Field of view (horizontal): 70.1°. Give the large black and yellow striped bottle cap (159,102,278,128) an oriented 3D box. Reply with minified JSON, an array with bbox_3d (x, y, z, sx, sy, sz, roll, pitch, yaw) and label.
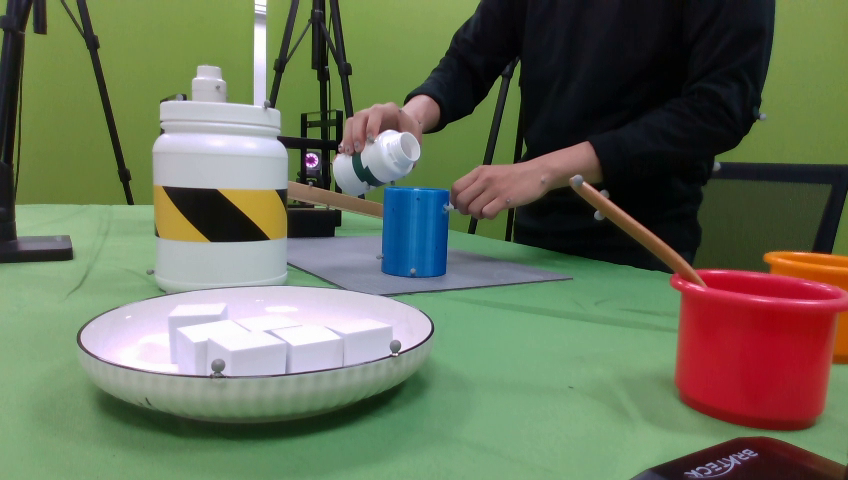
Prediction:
[{"bbox_3d":[-0.207,-0.125,0.615,0.115,0.019,0.115,2,6,0],"label":"large black and yellow striped bottle cap"}]

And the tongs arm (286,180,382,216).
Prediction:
[{"bbox_3d":[-0.122,-0.066,1.147,0.387,0.026,0.050,11,-2,-37],"label":"tongs arm"}]

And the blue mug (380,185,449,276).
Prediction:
[{"bbox_3d":[-0.018,-0.016,0.764,0.083,0.106,0.116,-1,8,-25],"label":"blue mug"}]

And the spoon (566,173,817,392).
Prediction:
[{"bbox_3d":[0.161,0.024,0.370,0.193,0.021,0.042,47,18,3],"label":"spoon"}]

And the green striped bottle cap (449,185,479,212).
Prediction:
[{"bbox_3d":[0.057,-0.061,0.883,0.044,0.020,0.044,9,38,-7],"label":"green striped bottle cap"}]

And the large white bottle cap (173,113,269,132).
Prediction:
[{"bbox_3d":[-0.254,-0.146,0.760,0.115,0.018,0.115,1,7,0],"label":"large white bottle cap"}]

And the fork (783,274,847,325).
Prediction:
[{"bbox_3d":[0.332,0.018,0.443,0.028,0.018,0.207,-1,-36,-15],"label":"fork"}]

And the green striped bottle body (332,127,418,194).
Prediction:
[{"bbox_3d":[-0.062,-0.107,0.799,0.119,0.063,0.063,-19,-8,40],"label":"green striped bottle body"}]

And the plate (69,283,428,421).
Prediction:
[{"bbox_3d":[-0.102,0.066,0.381,0.208,0.039,0.207,2,7,0],"label":"plate"}]

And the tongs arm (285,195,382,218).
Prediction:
[{"bbox_3d":[-0.166,-0.074,1.216,0.389,0.027,0.028,11,-6,-24],"label":"tongs arm"}]

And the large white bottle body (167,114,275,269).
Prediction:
[{"bbox_3d":[-0.257,-0.063,0.771,0.131,0.184,0.130,2,7,0],"label":"large white bottle body"}]

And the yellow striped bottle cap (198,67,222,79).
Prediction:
[{"bbox_3d":[-0.411,-0.319,1.163,0.044,0.018,0.044,1,6,0],"label":"yellow striped bottle cap"}]

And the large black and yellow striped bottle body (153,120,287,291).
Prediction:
[{"bbox_3d":[-0.208,-0.042,0.626,0.131,0.184,0.130,2,7,0],"label":"large black and yellow striped bottle body"}]

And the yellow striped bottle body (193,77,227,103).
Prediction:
[{"bbox_3d":[-0.414,-0.268,1.169,0.063,0.120,0.063,2,7,0],"label":"yellow striped bottle body"}]

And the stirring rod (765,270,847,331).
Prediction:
[{"bbox_3d":[0.352,0.020,0.484,0.176,0.006,0.014,-40,-7,12],"label":"stirring rod"}]
